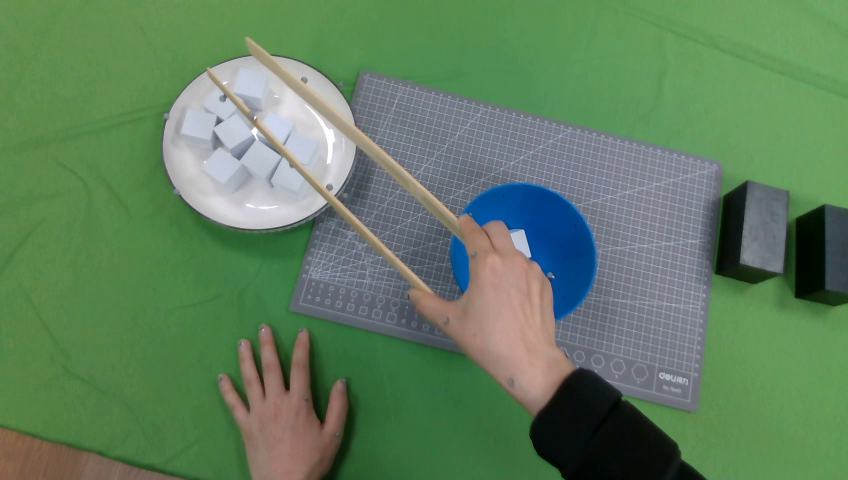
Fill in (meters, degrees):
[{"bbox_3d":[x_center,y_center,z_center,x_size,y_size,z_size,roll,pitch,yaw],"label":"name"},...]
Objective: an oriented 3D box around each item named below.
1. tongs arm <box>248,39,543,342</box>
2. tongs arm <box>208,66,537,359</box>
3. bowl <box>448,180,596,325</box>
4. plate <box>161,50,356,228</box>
[{"bbox_3d":[-0.035,-0.055,0.535,0.028,0.028,0.385,-40,74,-21],"label":"tongs arm"},{"bbox_3d":[-0.056,-0.036,0.526,0.051,0.027,0.382,-39,74,-17],"label":"tongs arm"},{"bbox_3d":[0.095,0.021,0.638,0.151,0.077,0.150,2,75,-5],"label":"bowl"},{"bbox_3d":[-0.178,-0.110,0.669,0.208,0.039,0.206,1,75,-4],"label":"plate"}]
